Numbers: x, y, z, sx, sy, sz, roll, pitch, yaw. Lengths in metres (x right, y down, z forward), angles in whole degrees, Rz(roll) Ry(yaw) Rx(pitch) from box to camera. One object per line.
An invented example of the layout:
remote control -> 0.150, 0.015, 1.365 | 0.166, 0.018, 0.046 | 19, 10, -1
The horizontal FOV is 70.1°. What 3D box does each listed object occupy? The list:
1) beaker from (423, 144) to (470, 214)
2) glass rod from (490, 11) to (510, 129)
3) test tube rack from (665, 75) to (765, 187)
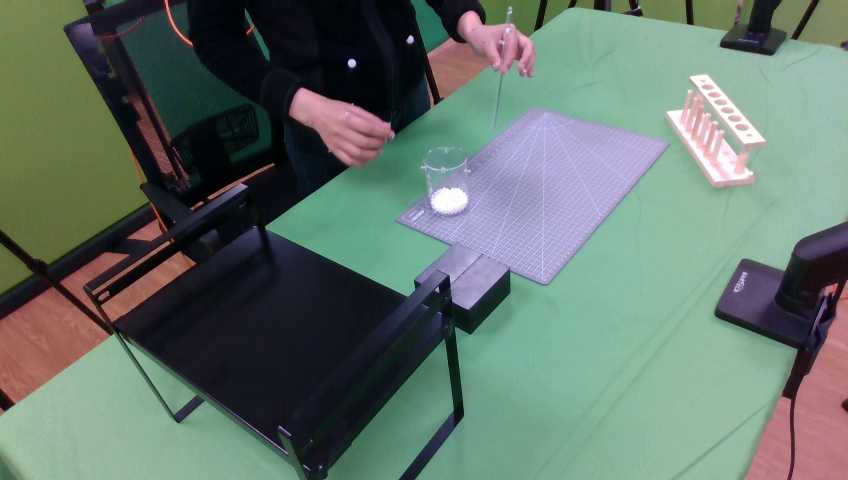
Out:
beaker -> 0.040, -0.102, 1.023 | 0.074, 0.101, 0.083 | -3, 40, 5
glass rod -> 0.127, -0.280, 1.013 | 0.008, 0.200, 0.008 | 4, 33, -2
test tube rack -> 0.512, -0.201, 1.082 | 0.067, 0.085, 0.241 | -6, 41, 2
